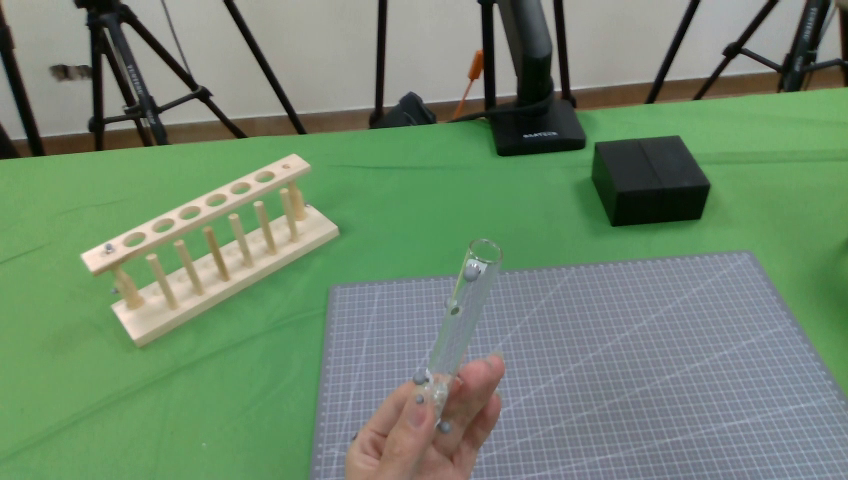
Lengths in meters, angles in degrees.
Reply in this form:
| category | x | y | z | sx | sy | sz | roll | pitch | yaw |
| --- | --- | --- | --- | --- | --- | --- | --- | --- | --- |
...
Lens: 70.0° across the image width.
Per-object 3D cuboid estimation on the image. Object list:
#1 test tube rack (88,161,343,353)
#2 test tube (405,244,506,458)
| category | x | y | z | sx | sy | sz | roll | pitch | yaw |
| --- | --- | --- | --- | --- | --- | --- | --- | --- | --- |
| test tube rack | -0.211 | 0.011 | 0.651 | 0.242 | 0.086 | 0.066 | -31 | 47 | -27 |
| test tube | 0.011 | 0.062 | 0.297 | 0.017 | 0.151 | 0.017 | 10 | 38 | -7 |
